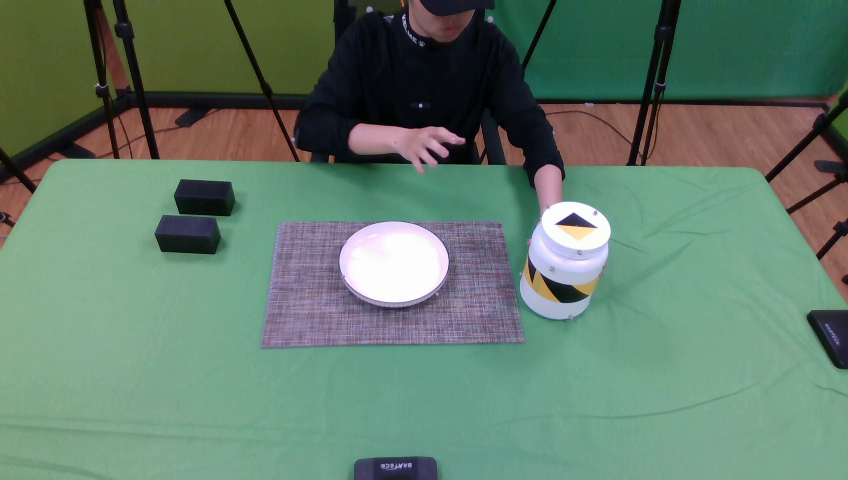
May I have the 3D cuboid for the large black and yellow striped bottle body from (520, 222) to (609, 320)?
[{"bbox_3d":[0.247,0.038,1.065,0.131,0.185,0.130,2,46,-2],"label":"large black and yellow striped bottle body"}]

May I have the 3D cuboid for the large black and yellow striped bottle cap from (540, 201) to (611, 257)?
[{"bbox_3d":[0.251,-0.021,1.004,0.115,0.019,0.114,2,47,-1],"label":"large black and yellow striped bottle cap"}]

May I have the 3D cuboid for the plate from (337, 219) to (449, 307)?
[{"bbox_3d":[-0.057,0.045,1.132,0.208,0.039,0.206,2,46,-2],"label":"plate"}]
